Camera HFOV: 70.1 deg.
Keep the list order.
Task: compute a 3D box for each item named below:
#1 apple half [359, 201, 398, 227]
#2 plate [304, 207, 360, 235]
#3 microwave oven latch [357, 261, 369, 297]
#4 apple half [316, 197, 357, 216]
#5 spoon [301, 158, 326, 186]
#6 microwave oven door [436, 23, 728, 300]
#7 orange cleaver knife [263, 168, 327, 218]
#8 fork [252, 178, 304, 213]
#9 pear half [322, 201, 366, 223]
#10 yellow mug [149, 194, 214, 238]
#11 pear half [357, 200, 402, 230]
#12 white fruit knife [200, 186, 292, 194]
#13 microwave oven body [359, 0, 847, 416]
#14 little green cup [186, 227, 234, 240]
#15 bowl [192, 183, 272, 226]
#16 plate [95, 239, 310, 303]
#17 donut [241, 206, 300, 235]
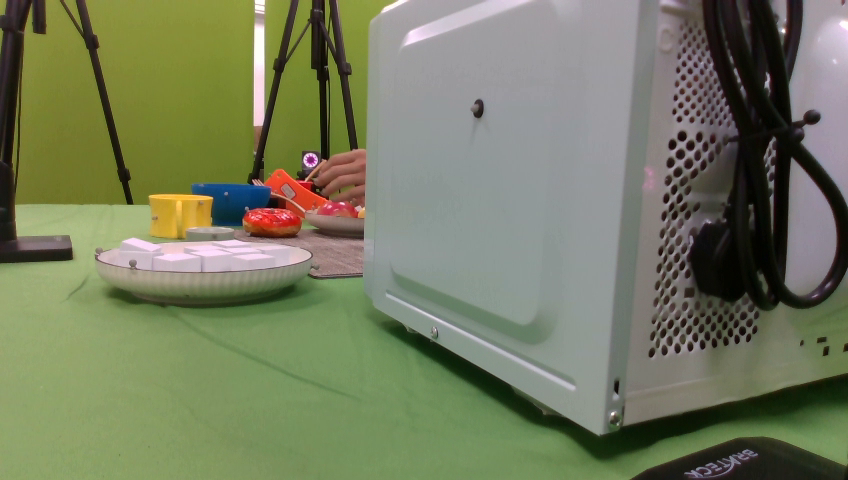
[{"bbox_3d":[-0.088,-0.058,1.190,0.081,0.033,0.081,10,29,-5],"label":"apple half"},{"bbox_3d":[-0.123,-0.037,1.149,0.209,0.038,0.209,2,7,0],"label":"plate"},{"bbox_3d":[-0.019,0.033,0.530,0.079,0.029,0.030,-1,7,-27],"label":"microwave oven latch"},{"bbox_3d":[-0.162,-0.052,1.121,0.081,0.053,0.074,4,8,-14],"label":"apple half"},{"bbox_3d":[-0.319,-0.160,1.646,0.041,0.022,0.194,6,53,36],"label":"spoon"},{"bbox_3d":[0.180,-0.073,0.621,0.358,0.243,0.039,-2,9,-29],"label":"microwave oven door"},{"bbox_3d":[-0.262,-0.088,1.353,0.211,0.077,0.012,28,13,-1],"label":"orange cleaver knife"},{"bbox_3d":[-0.295,-0.084,1.292,0.206,0.018,0.028,29,11,25],"label":"fork"},{"bbox_3d":[-0.157,-0.059,1.197,0.088,0.031,0.070,11,30,-3],"label":"pear half"},{"bbox_3d":[-0.401,-0.040,1.003,0.100,0.064,0.130,0,9,-20],"label":"yellow mug"},{"bbox_3d":[-0.075,-0.046,1.133,0.076,0.056,0.110,12,8,30],"label":"pear half"},{"bbox_3d":[-0.399,-0.111,1.368,0.208,0.016,0.027,-4,-19,-30],"label":"white fruit knife"},{"bbox_3d":[0.211,-0.047,0.474,0.444,0.260,0.324,-1,7,-28],"label":"microwave oven body"},{"bbox_3d":[-0.285,0.005,0.805,0.061,0.038,0.061,2,8,0],"label":"little green cup"},{"bbox_3d":[-0.381,-0.071,1.202,0.151,0.077,0.151,3,7,0],"label":"bowl"},{"bbox_3d":[-0.224,0.031,0.629,0.208,0.039,0.207,2,8,0],"label":"plate"},{"bbox_3d":[-0.263,-0.032,1.039,0.099,0.048,0.099,4,10,0],"label":"donut"}]
